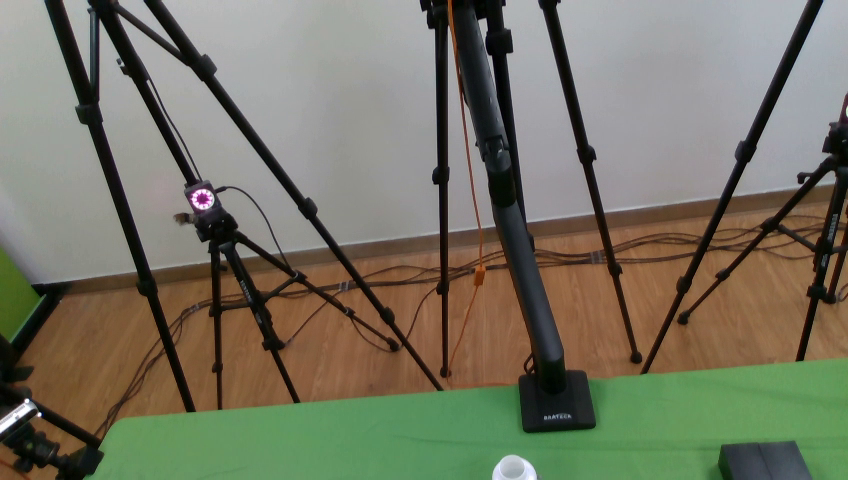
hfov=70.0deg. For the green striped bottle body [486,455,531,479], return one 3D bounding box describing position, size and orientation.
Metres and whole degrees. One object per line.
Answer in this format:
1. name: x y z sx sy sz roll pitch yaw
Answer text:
1. green striped bottle body: 0.126 0.361 0.880 0.063 0.120 0.062 -8 38 7
